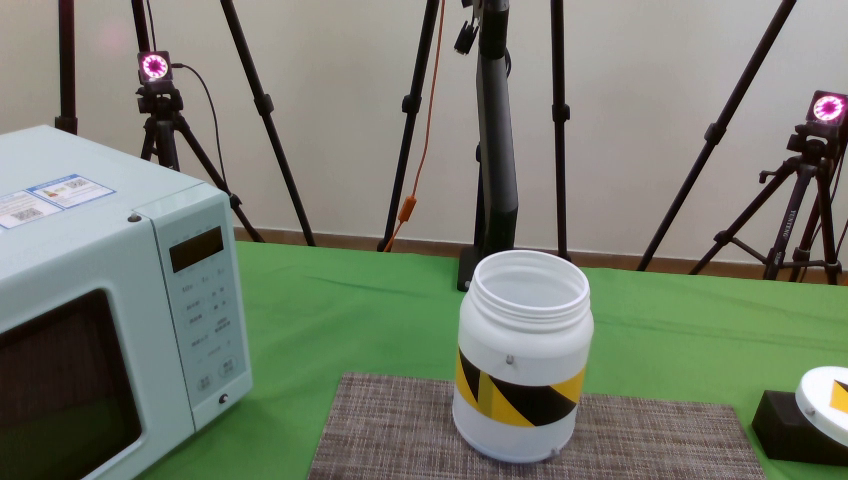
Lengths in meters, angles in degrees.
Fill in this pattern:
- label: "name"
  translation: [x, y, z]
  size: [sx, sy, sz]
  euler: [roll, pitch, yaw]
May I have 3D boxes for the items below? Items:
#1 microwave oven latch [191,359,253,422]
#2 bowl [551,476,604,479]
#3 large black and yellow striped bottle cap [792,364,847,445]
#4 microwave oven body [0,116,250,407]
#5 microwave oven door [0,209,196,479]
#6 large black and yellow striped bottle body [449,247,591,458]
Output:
- label: "microwave oven latch"
  translation: [-0.216, 0.154, 0.636]
  size: [0.030, 0.030, 0.079]
  euler: [21, 34, 28]
- label: "bowl"
  translation: [0.126, 0.263, 0.450]
  size: [0.151, 0.077, 0.150]
  euler: [2, 29, -1]
- label: "large black and yellow striped bottle cap"
  translation: [0.441, 0.168, 0.616]
  size: [0.115, 0.019, 0.114]
  euler: [1, 28, 0]
- label: "microwave oven body"
  translation: [-0.434, 0.095, 0.523]
  size: [0.323, 0.262, 0.441]
  euler: [19, 34, 27]
- label: "microwave oven door"
  translation: [-0.334, 0.148, 0.423]
  size: [0.039, 0.245, 0.355]
  euler: [19, 33, 27]
- label: "large black and yellow striped bottle body"
  translation: [0.095, 0.111, 0.614]
  size: [0.131, 0.185, 0.129]
  euler: [2, 29, -1]
